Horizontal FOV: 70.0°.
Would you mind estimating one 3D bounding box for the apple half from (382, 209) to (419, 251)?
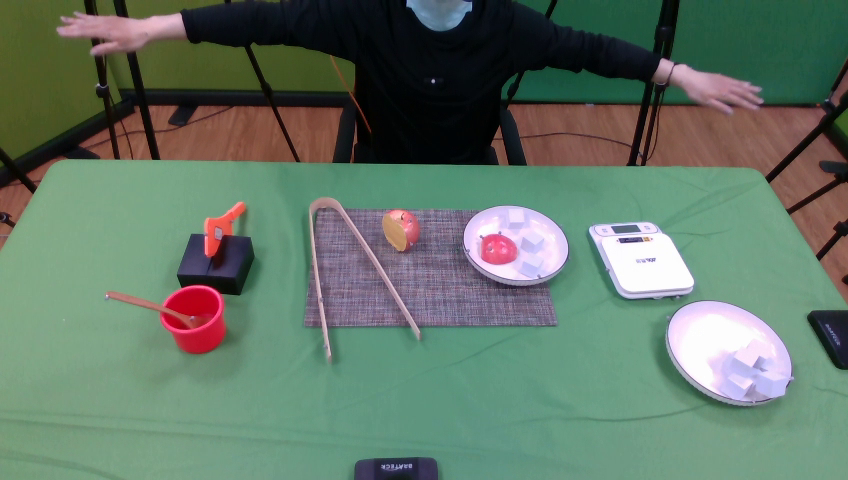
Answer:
[{"bbox_3d":[-0.039,-0.022,1.175,0.053,0.075,0.080,-27,49,-31],"label":"apple half"}]

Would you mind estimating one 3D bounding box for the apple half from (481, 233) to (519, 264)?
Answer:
[{"bbox_3d":[0.147,0.010,1.174,0.081,0.033,0.081,0,46,1],"label":"apple half"}]

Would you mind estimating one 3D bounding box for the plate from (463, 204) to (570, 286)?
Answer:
[{"bbox_3d":[0.177,0.013,1.180,0.209,0.038,0.208,2,46,-2],"label":"plate"}]

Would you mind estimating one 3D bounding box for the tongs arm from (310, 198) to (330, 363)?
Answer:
[{"bbox_3d":[-0.180,0.058,1.117,0.051,0.026,0.382,-9,47,-11],"label":"tongs arm"}]

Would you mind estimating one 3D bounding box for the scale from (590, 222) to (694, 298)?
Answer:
[{"bbox_3d":[0.424,0.031,1.189,0.149,0.032,0.199,-3,46,-7],"label":"scale"}]

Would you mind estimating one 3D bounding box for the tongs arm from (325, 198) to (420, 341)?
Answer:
[{"bbox_3d":[-0.101,0.042,1.140,0.028,0.028,0.385,-22,51,-18],"label":"tongs arm"}]

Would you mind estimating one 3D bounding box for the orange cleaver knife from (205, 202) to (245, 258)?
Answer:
[{"bbox_3d":[-0.376,-0.024,1.151,0.012,0.077,0.210,0,16,2],"label":"orange cleaver knife"}]

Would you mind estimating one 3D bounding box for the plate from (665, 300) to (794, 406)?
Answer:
[{"bbox_3d":[0.513,0.194,1.034,0.208,0.039,0.206,2,46,-2],"label":"plate"}]

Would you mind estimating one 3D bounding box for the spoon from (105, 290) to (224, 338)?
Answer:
[{"bbox_3d":[-0.411,0.115,0.971,0.195,0.021,0.041,32,35,-37],"label":"spoon"}]
